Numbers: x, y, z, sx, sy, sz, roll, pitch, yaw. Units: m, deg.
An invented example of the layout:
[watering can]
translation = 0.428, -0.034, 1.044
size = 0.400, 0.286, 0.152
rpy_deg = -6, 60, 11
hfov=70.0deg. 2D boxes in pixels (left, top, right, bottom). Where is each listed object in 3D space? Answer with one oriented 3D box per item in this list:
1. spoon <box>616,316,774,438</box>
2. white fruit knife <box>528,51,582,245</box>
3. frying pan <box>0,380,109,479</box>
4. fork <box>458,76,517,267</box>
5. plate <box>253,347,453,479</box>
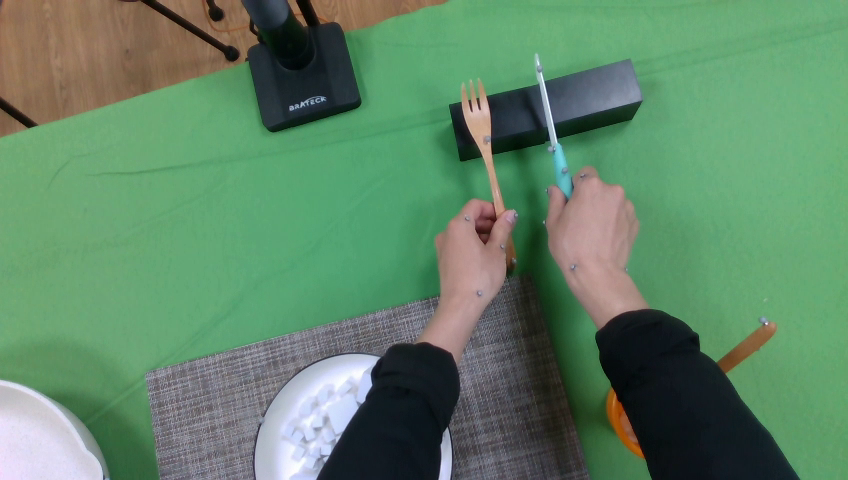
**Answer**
[spoon]
translation = 0.248, 0.131, 0.563
size = 0.041, 0.194, 0.021
rpy_deg = 41, 41, 8
[white fruit knife]
translation = 0.134, -0.094, 0.631
size = 0.016, 0.027, 0.207
rpy_deg = -16, 96, -3
[frying pan]
translation = -0.429, 0.385, 0.605
size = 0.307, 0.103, 0.484
rpy_deg = -22, 69, 2
[fork]
translation = 0.071, -0.069, 0.644
size = 0.028, 0.018, 0.208
rpy_deg = -12, 98, 18
[plate]
translation = -0.072, 0.218, 0.632
size = 0.207, 0.039, 0.206
rpy_deg = -1, 79, 6
